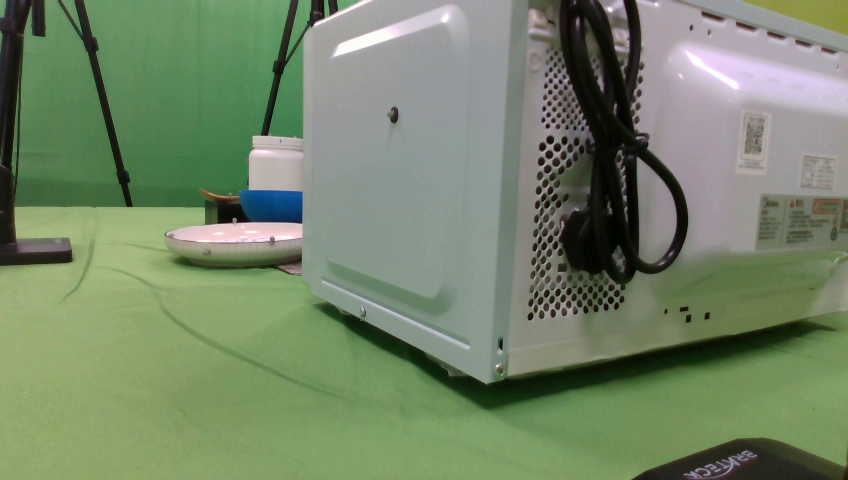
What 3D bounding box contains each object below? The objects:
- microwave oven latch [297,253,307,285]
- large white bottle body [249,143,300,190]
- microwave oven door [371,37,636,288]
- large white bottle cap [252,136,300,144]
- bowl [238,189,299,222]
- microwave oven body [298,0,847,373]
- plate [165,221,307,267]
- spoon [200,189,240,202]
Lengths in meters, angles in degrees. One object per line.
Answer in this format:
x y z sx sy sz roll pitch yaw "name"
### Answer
-0.082 0.027 0.583 0.079 0.029 0.030 -1 8 -33 "microwave oven latch"
-0.338 -0.144 1.401 0.131 0.184 0.130 2 7 0 "large white bottle body"
0.109 -0.080 0.686 0.358 0.243 0.039 -2 9 -33 "microwave oven door"
-0.336 -0.228 1.391 0.115 0.018 0.115 2 6 0 "large white bottle cap"
-0.245 -0.045 1.053 0.151 0.077 0.151 2 7 0 "bowl"
0.151 -0.055 0.543 0.444 0.260 0.324 -1 7 -33 "microwave oven body"
-0.241 0.004 0.829 0.209 0.038 0.209 0 9 0 "plate"
-0.339 -0.080 1.190 0.194 0.021 0.041 5 2 -19 "spoon"
